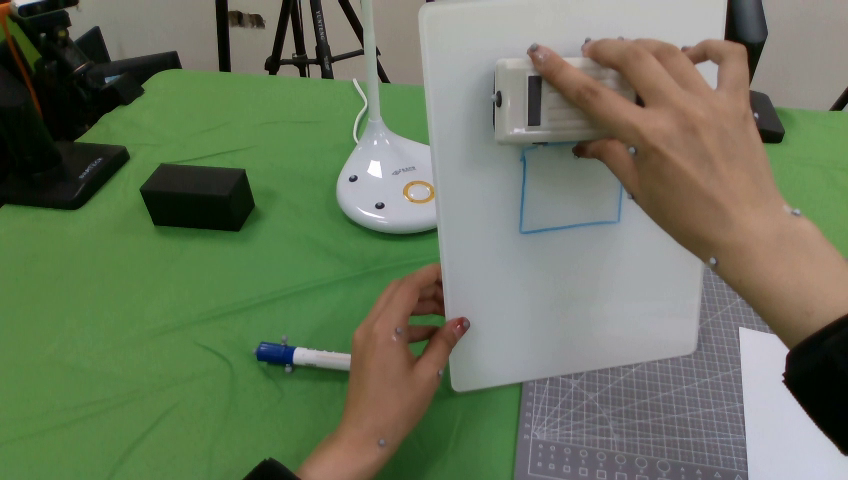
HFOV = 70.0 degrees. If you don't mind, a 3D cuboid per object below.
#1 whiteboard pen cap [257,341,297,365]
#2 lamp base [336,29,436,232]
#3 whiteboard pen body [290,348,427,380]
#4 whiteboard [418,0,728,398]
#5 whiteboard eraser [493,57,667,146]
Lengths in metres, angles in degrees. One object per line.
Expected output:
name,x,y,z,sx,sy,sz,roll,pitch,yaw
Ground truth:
whiteboard pen cap,-0.126,0.098,0.526,0.033,0.018,0.018,8,42,2
lamp base,-0.033,-0.127,0.666,0.161,0.182,0.177,-27,44,-26
whiteboard pen body,-0.067,0.105,0.520,0.141,0.017,0.017,6,41,4
whiteboard,0.108,-0.049,0.519,0.217,0.307,0.142,-8,22,-5
whiteboard eraser,0.103,-0.093,0.406,0.113,0.056,0.041,-3,10,-7
